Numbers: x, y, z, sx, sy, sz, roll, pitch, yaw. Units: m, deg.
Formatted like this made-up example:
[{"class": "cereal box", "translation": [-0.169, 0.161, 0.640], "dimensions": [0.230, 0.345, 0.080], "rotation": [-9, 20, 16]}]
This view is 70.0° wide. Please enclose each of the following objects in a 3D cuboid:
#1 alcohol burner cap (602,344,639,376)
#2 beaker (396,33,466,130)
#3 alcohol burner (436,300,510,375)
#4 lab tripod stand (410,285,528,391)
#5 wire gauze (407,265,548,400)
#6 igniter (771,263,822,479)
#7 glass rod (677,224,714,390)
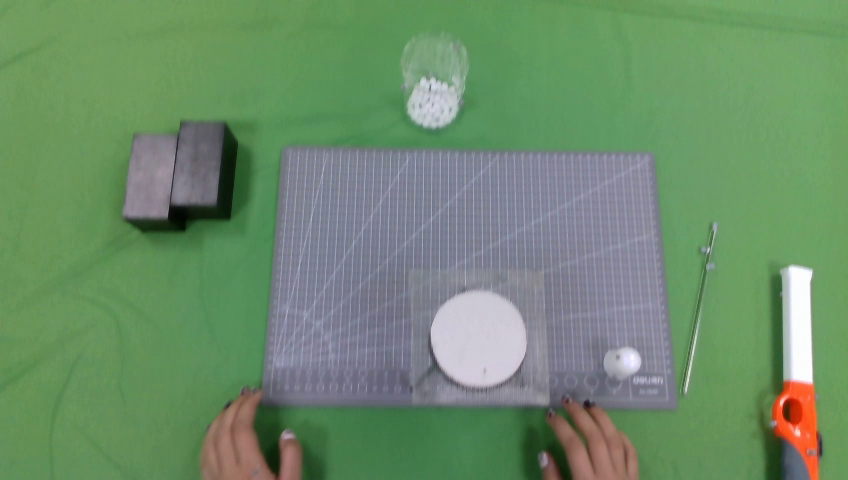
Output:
[{"class": "alcohol burner cap", "translation": [0.213, 0.128, 0.652], "dimensions": [0.034, 0.048, 0.033], "rotation": [0, 72, 0]}, {"class": "beaker", "translation": [0.010, -0.178, 0.705], "dimensions": [0.074, 0.100, 0.083], "rotation": [-42, 80, -11]}, {"class": "alcohol burner", "translation": [0.052, 0.097, 0.620], "dimensions": [0.078, 0.120, 0.077], "rotation": [1, 72, -1]}, {"class": "lab tripod stand", "translation": [0.047, 0.103, 0.607], "dimensions": [0.148, 0.132, 0.147], "rotation": [0, 73, 0]}, {"class": "wire gauze", "translation": [0.047, 0.082, 0.543], "dimensions": [0.125, 0.011, 0.120], "rotation": [0, 73, -2]}, {"class": "igniter", "translation": [0.403, 0.160, 0.657], "dimensions": [0.057, 0.025, 0.275], "rotation": [12, 74, -9]}, {"class": "glass rod", "translation": [0.310, 0.073, 0.690], "dimensions": [0.008, 0.008, 0.199], "rotation": [17, 75, 3]}]
